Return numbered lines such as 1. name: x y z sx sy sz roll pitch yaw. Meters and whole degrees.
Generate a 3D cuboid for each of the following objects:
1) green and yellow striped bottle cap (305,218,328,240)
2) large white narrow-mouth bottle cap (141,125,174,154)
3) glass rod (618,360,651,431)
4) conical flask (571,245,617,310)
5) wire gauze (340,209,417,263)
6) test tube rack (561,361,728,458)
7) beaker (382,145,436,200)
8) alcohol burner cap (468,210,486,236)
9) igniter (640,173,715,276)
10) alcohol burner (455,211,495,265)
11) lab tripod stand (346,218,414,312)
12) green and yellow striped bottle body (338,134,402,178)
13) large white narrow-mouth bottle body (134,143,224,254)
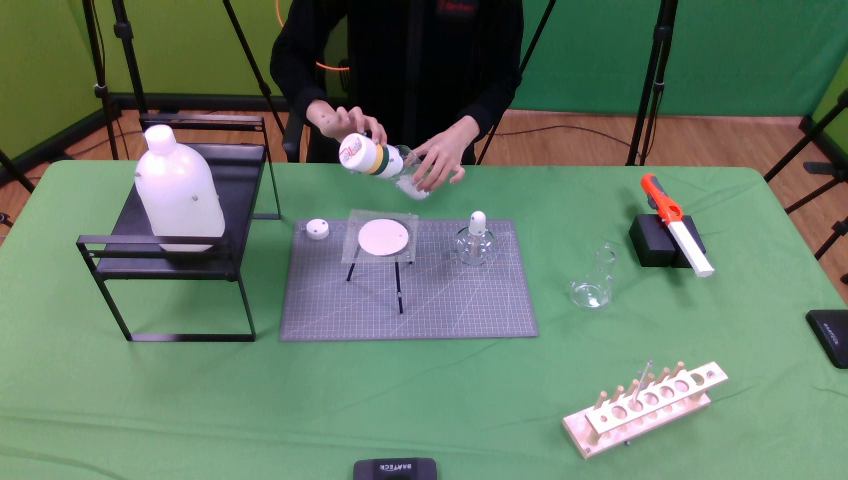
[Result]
1. green and yellow striped bottle cap: -0.214 -0.022 1.203 0.045 0.020 0.045 4 46 -4
2. large white narrow-mouth bottle cap: -0.356 -0.134 0.810 0.038 0.024 0.037 2 48 -2
3. glass rod: 0.298 0.227 0.865 0.008 0.201 0.008 -1 48 2
4. conical flask: 0.313 0.064 1.089 0.075 0.122 0.075 2 46 -2
5. wire gauze: -0.074 -0.007 1.023 0.121 0.011 0.124 3 46 0
6. test tube rack: 0.341 0.248 0.940 0.243 0.085 0.066 -15 49 -18
7. beaker: -0.027 -0.128 1.163 0.084 0.101 0.073 -18 58 27
8. alcohol burner cap: 0.100 -0.034 1.119 0.034 0.048 0.033 0 53 0
9. igniter: 0.495 -0.039 1.204 0.057 0.025 0.274 -2 47 -12
10. alcohol burner: 0.098 -0.010 1.147 0.078 0.120 0.077 1 47 -1
11. lab tripod stand: -0.070 0.037 1.075 0.148 0.132 0.147 1 48 -1
12. green and yellow striped bottle body: -0.092 -0.148 1.089 0.120 0.063 0.063 9 31 -51
13. large white narrow-mouth bottle body: -0.358 -0.075 0.875 0.102 0.195 0.101 1 48 -1
